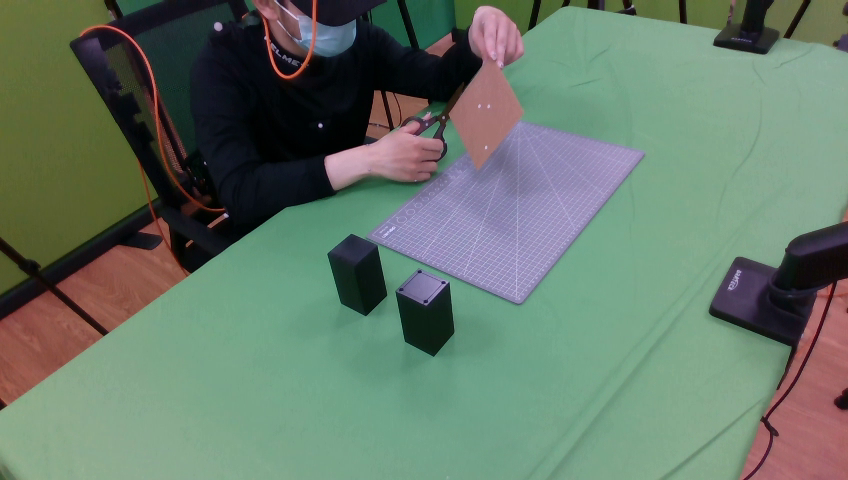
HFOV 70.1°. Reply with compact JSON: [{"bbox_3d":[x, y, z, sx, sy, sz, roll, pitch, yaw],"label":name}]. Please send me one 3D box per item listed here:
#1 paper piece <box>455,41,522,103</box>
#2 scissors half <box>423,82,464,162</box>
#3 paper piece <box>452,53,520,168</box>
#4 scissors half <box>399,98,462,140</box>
[{"bbox_3d":[0.109,-0.292,1.078,0.008,0.135,0.138,47,39,3],"label":"paper piece"},{"bbox_3d":[0.038,-0.207,1.077,0.040,0.175,0.013,28,43,6],"label":"scissors half"},{"bbox_3d":[0.096,-0.210,0.987,0.004,0.135,0.135,0,55,-32],"label":"paper piece"},{"bbox_3d":[0.020,-0.223,1.074,0.174,0.040,0.013,-20,28,36],"label":"scissors half"}]
